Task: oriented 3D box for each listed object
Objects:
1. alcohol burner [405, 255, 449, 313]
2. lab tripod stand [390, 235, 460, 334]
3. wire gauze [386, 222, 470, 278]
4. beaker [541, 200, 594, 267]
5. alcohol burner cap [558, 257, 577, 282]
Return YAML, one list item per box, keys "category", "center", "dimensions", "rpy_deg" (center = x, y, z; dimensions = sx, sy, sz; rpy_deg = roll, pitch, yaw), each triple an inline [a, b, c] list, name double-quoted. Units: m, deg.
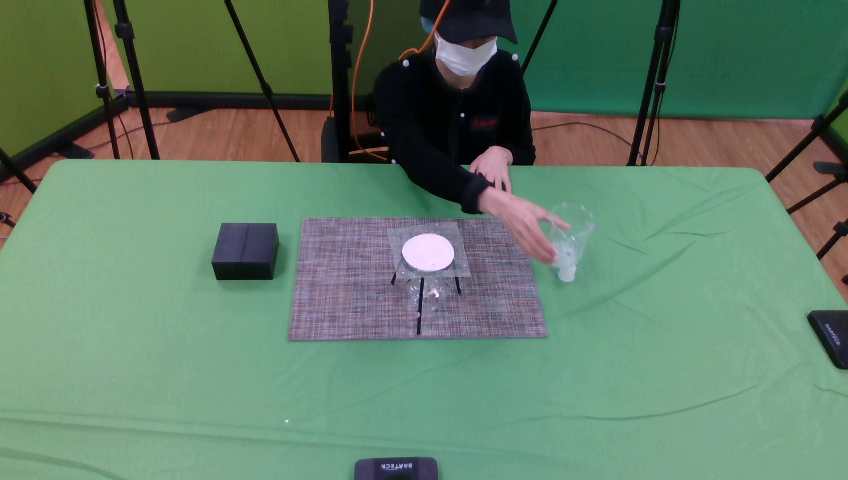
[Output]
- category: "alcohol burner"
  center: [0.006, 0.071, 1.060]
  dimensions: [0.078, 0.120, 0.077]
  rpy_deg: [1, 45, -1]
- category: "lab tripod stand"
  center: [-0.001, 0.067, 1.050]
  dimensions: [0.148, 0.132, 0.147]
  rpy_deg: [1, 47, -1]
- category: "wire gauze"
  center: [0.004, 0.017, 1.005]
  dimensions: [0.125, 0.011, 0.120]
  rpy_deg: [-5, 46, -8]
- category: "beaker"
  center: [0.244, -0.005, 1.046]
  dimensions: [0.074, 0.101, 0.083]
  rpy_deg: [11, 50, 8]
- category: "alcohol burner cap"
  center: [0.276, 0.053, 1.153]
  dimensions: [0.034, 0.048, 0.033]
  rpy_deg: [2, 46, -2]
